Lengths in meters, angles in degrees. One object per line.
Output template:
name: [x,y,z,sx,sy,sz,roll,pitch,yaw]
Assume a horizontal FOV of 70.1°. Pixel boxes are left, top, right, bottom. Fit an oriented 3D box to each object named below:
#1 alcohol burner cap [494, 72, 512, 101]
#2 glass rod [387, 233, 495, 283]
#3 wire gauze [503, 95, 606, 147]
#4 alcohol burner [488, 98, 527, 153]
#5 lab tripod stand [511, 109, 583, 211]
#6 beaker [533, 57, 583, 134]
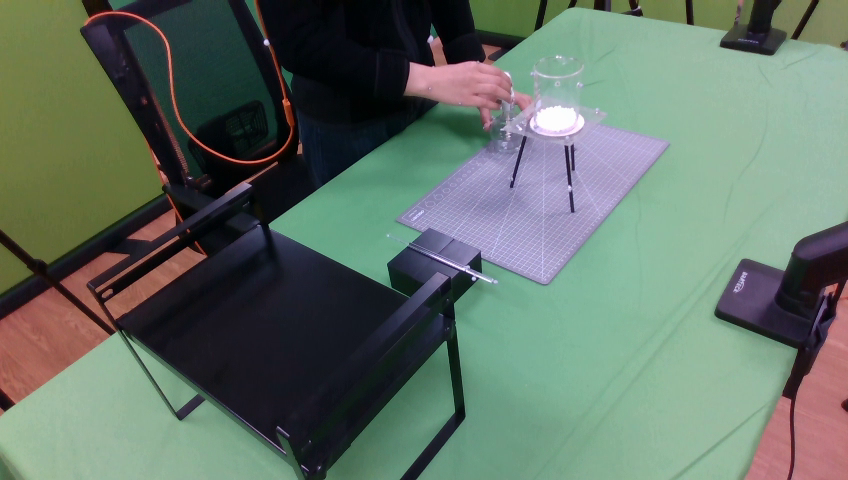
alcohol burner cap: [0.142,-0.280,1.095,0.034,0.048,0.033,-5,39,5]
glass rod: [0.020,0.025,0.880,0.198,0.008,0.008,23,49,32]
wire gauze: [0.212,-0.191,0.976,0.120,0.011,0.125,24,52,32]
alcohol burner: [0.159,-0.226,1.143,0.078,0.119,0.077,-6,39,6]
lab tripod stand: [0.220,-0.138,1.014,0.148,0.132,0.147,-3,41,3]
beaker: [0.208,-0.225,0.941,0.073,0.101,0.084,10,44,20]
